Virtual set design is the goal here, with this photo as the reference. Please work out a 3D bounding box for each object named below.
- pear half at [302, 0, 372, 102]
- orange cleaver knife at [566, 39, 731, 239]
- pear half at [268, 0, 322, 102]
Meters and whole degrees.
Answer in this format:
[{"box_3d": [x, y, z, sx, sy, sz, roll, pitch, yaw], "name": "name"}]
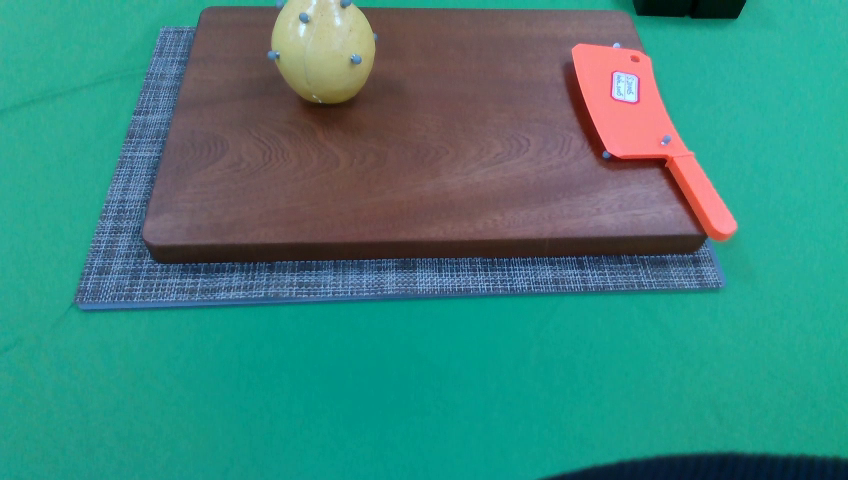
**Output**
[{"box_3d": [-0.059, -0.143, 0.457, 0.031, 0.089, 0.070, 23, 52, 14], "name": "pear half"}, {"box_3d": [0.169, -0.088, 0.476, 0.077, 0.012, 0.209, -6, 58, -11], "name": "orange cleaver knife"}, {"box_3d": [-0.090, -0.165, 0.458, 0.056, 0.111, 0.076, 24, 52, 13], "name": "pear half"}]
